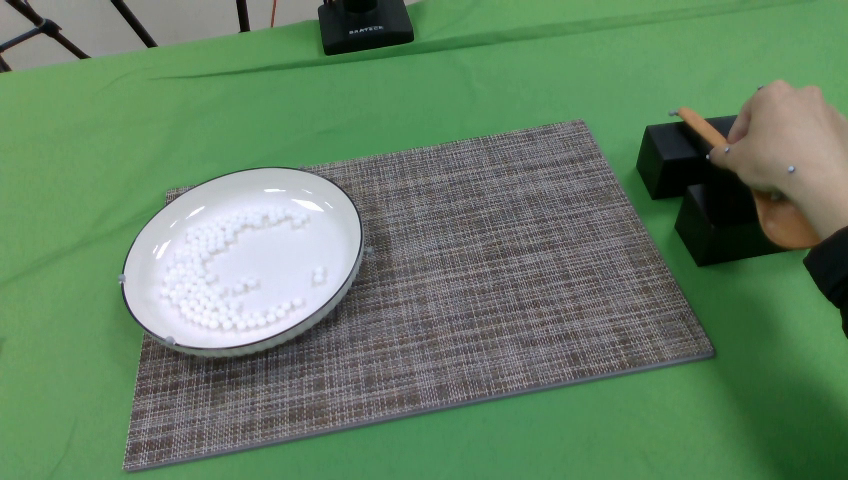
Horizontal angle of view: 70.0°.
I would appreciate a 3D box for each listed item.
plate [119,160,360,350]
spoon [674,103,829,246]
[{"bbox_3d":[-0.158,0.011,0.540,0.207,0.039,0.205,-2,49,3],"label":"plate"},{"bbox_3d":[0.266,-0.064,0.511,0.041,0.022,0.191,-24,51,6],"label":"spoon"}]
